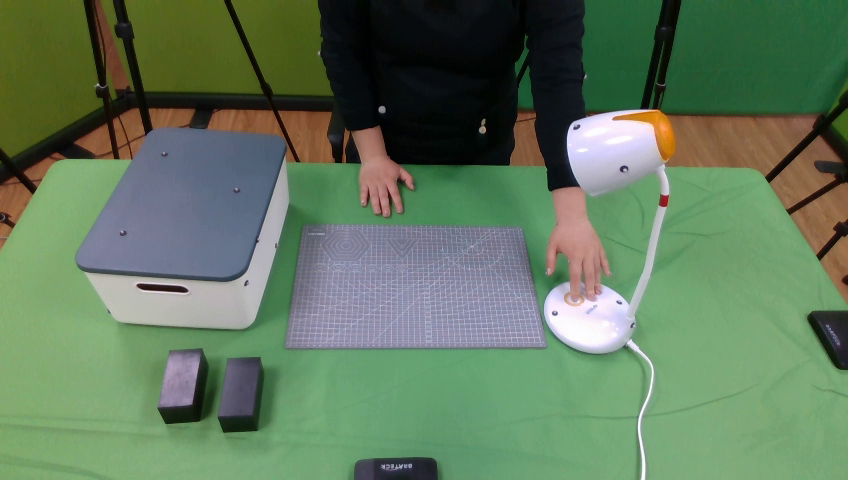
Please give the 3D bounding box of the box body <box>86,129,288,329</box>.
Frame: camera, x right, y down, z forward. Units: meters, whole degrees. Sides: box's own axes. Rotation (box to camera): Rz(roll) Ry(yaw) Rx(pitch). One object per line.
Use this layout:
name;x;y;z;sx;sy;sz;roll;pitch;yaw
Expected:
box body;-0.401;-0.025;1.094;0.254;0.161;0.362;3;46;-1

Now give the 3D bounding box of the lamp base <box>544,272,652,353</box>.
lamp base;0.310;0.086;1.029;0.178;0.181;0.160;32;52;21

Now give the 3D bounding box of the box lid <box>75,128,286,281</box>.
box lid;-0.398;-0.075;1.039;0.263;0.015;0.369;4;45;-1

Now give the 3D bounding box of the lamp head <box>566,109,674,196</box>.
lamp head;0.272;-0.123;0.818;0.122;0.113;0.112;-9;35;37

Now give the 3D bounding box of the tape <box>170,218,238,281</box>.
tape;-0.406;0.017;1.121;0.117;0.053;0.116;2;46;-2
